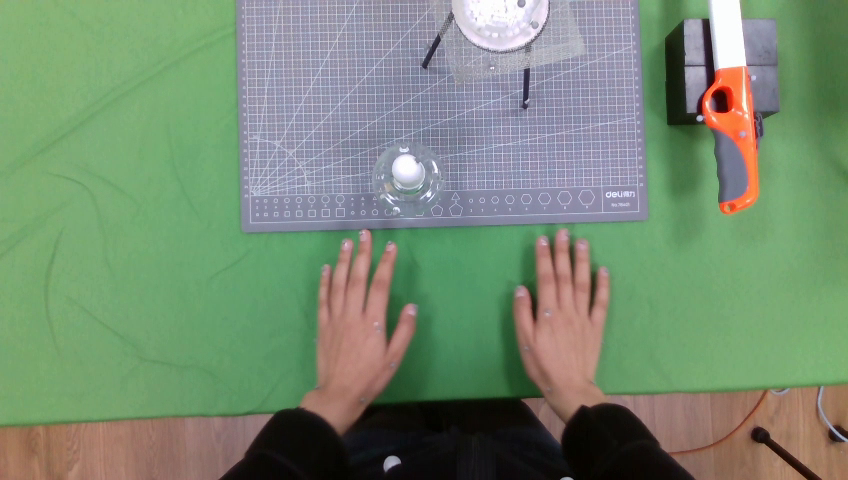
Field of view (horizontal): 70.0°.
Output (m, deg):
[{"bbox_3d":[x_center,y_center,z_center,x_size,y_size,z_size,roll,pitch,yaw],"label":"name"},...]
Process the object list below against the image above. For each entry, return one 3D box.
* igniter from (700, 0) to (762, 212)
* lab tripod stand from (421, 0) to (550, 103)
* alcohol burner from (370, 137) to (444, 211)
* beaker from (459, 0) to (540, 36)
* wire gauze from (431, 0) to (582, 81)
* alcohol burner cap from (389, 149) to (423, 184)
[{"bbox_3d":[0.314,-0.167,0.627,0.057,0.025,0.276,-3,87,10],"label":"igniter"},{"bbox_3d":[0.069,-0.217,0.613,0.148,0.131,0.148,0,86,0],"label":"lab tripod stand"},{"bbox_3d":[-0.018,-0.069,0.615,0.078,0.119,0.078,0,89,-1],"label":"alcohol burner"},{"bbox_3d":[0.064,-0.219,0.499,0.084,0.100,0.074,-3,86,-1],"label":"beaker"},{"bbox_3d":[0.070,-0.213,0.547,0.125,0.011,0.121,-15,89,-4],"label":"wire gauze"},{"bbox_3d":[-0.019,-0.072,0.579,0.034,0.048,0.034,0,88,0],"label":"alcohol burner cap"}]
